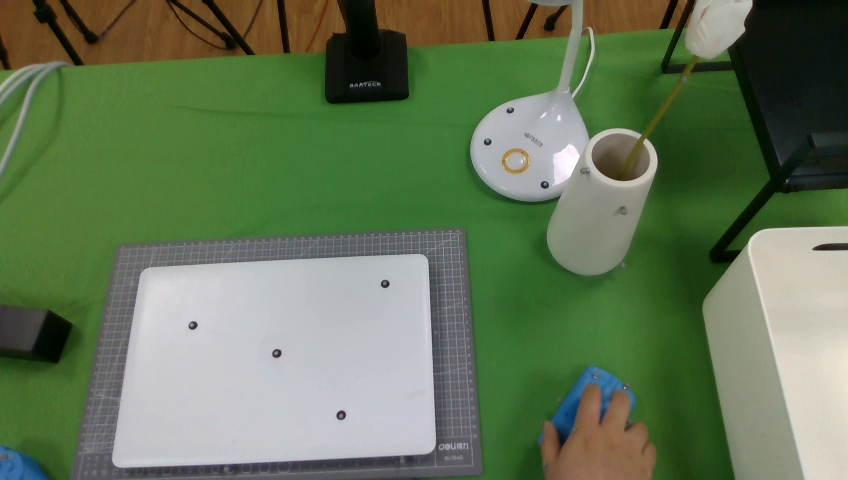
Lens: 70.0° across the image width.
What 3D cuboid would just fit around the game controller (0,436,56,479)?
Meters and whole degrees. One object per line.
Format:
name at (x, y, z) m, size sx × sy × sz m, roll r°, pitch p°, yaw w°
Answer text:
game controller at (-0.473, 0.277, 0.627) m, size 0.155 × 0.052 × 0.096 m, roll -38°, pitch 67°, yaw -15°

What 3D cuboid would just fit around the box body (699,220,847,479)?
box body at (0.437, 0.177, 0.580) m, size 0.254 × 0.161 × 0.361 m, roll -1°, pitch 65°, yaw 2°

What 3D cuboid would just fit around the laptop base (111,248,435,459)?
laptop base at (-0.167, 0.125, 0.704) m, size 0.354 × 0.023 × 0.233 m, roll -3°, pitch 68°, yaw 0°

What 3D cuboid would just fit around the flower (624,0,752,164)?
flower at (0.206, -0.088, 0.601) m, size 0.038 × 0.364 × 0.043 m, roll -8°, pitch 54°, yaw -20°

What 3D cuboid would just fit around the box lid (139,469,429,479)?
box lid at (-0.169, 0.369, 0.596) m, size 0.371 × 0.015 × 0.261 m, roll -3°, pitch 65°, yaw 1°

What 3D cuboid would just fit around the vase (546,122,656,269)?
vase at (0.193, -0.044, 0.672) m, size 0.098 × 0.201 × 0.097 m, roll -1°, pitch 63°, yaw 3°

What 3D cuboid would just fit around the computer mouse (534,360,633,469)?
computer mouse at (0.174, 0.185, 0.654) m, size 0.062 × 0.041 × 0.117 m, roll 36°, pitch 67°, yaw 20°

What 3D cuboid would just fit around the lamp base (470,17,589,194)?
lamp base at (0.145, -0.175, 0.745) m, size 0.160 × 0.181 × 0.178 m, roll 29°, pitch 66°, yaw 15°

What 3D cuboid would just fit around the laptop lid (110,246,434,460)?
laptop lid at (-0.168, 0.122, 0.692) m, size 0.357 × 0.013 × 0.240 m, roll -1°, pitch 67°, yaw 1°
